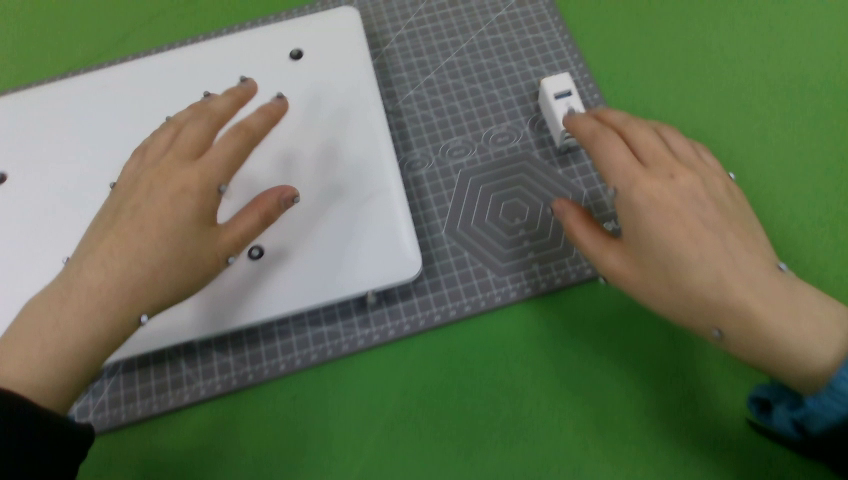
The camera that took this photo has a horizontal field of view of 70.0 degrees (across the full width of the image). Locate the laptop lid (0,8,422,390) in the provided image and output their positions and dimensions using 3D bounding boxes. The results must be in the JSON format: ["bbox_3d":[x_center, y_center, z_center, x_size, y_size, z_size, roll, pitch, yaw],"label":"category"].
[{"bbox_3d":[-0.196,-0.035,0.420,0.357,0.013,0.239,-13,66,0],"label":"laptop lid"}]

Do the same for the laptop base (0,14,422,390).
[{"bbox_3d":[-0.195,-0.031,0.432,0.354,0.023,0.233,-15,67,-1],"label":"laptop base"}]

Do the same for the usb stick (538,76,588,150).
[{"bbox_3d":[0.094,-0.094,0.425,0.021,0.027,0.058,-15,61,0],"label":"usb stick"}]
